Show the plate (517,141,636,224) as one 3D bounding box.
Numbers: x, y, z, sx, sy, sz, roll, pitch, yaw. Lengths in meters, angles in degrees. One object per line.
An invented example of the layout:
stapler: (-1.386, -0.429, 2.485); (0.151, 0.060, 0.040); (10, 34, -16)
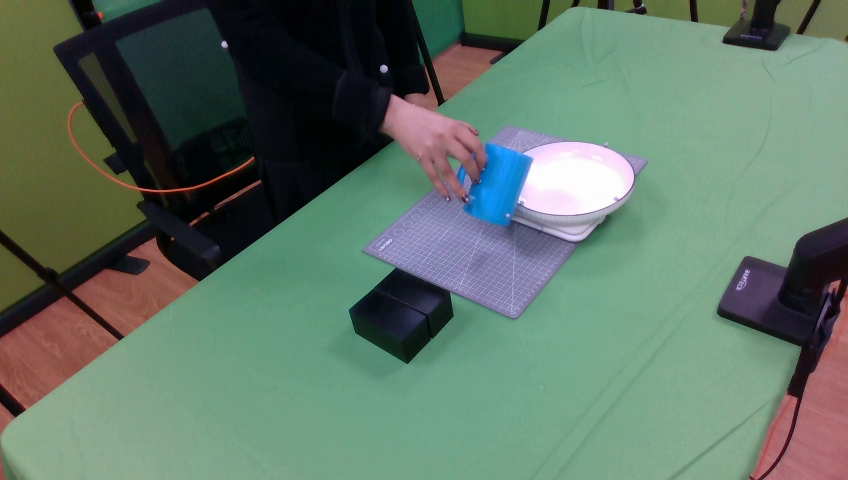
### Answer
plate: (0.233, -0.091, 0.983); (0.209, 0.038, 0.208); (-5, 41, 5)

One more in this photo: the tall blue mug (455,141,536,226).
tall blue mug: (0.104, -0.084, 0.893); (0.077, 0.108, 0.108); (26, 13, 26)

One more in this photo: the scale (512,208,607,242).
scale: (0.211, -0.070, 1.014); (0.199, 0.032, 0.149); (23, 49, 33)
